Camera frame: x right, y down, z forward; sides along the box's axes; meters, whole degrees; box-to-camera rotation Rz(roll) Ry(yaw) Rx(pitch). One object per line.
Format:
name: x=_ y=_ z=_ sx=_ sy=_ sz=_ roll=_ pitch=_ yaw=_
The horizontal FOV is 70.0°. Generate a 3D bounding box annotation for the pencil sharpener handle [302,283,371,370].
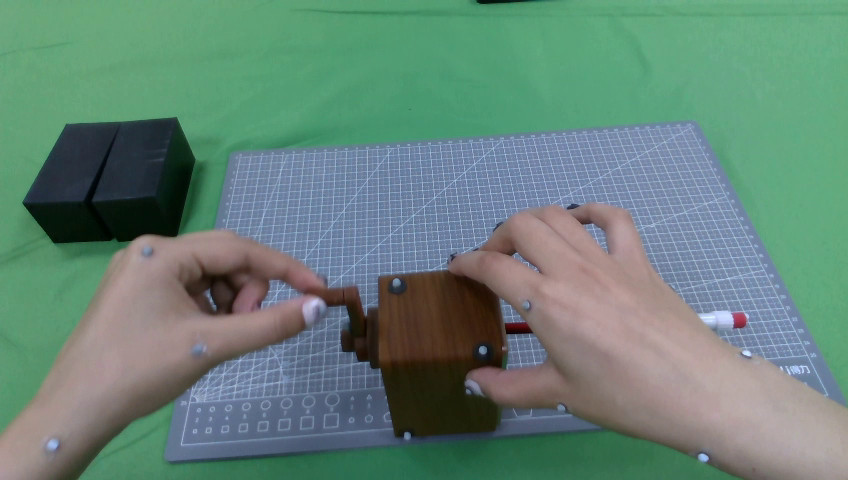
pencil sharpener handle: x=-0.047 y=0.048 z=0.340 sx=0.030 sy=0.068 sz=0.035 roll=-5 pitch=48 yaw=-1

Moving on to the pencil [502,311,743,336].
pencil: x=0.091 y=0.051 z=0.355 sx=0.194 sy=0.012 sz=0.012 roll=-2 pitch=50 yaw=-1

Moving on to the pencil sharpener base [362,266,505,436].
pencil sharpener base: x=0.006 y=0.072 z=0.374 sx=0.077 sy=0.108 sz=0.060 roll=-5 pitch=50 yaw=-1
